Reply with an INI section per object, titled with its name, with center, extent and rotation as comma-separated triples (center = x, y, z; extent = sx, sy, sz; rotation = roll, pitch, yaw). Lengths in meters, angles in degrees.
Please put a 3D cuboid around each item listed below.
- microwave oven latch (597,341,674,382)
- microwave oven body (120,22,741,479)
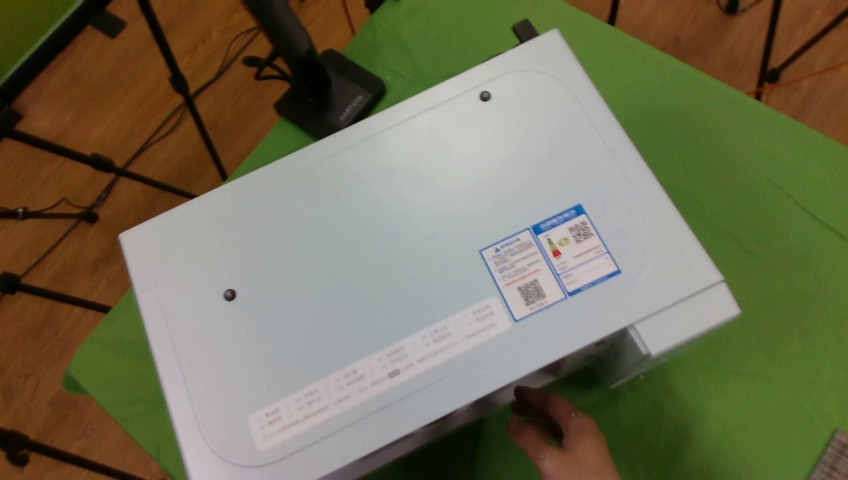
[microwave oven latch]
center = 0.231, 0.126, 0.660
extent = 0.079, 0.030, 0.030
rotation = -24, 70, 0
[microwave oven body]
center = -0.004, 0.049, 0.615
extent = 0.442, 0.262, 0.323
rotation = -26, 70, -1
